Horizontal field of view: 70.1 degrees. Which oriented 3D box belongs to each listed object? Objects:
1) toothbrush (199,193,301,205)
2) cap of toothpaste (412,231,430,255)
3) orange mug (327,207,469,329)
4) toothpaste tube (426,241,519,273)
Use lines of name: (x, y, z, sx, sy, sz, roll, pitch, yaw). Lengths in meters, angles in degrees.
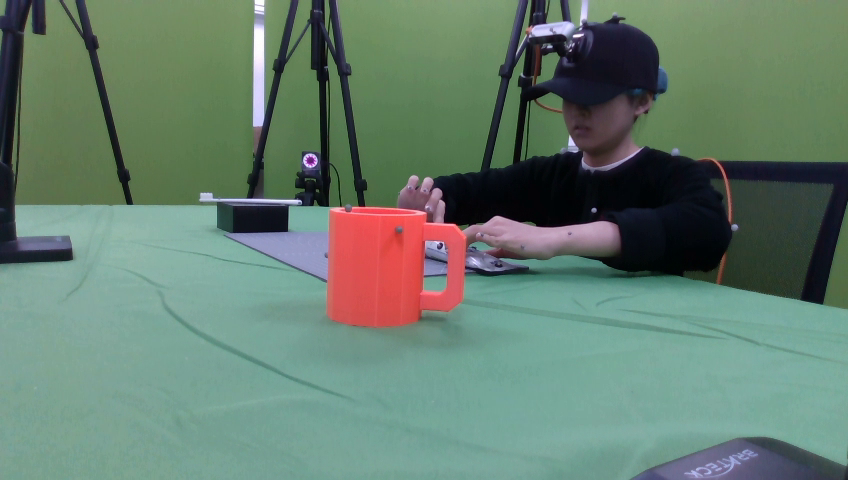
toothbrush: (-0.323, -0.076, 1.129, 0.182, 0.016, 0.014, 2, 5, -15)
cap of toothpaste: (-0.002, 0.005, 0.889, 0.011, 0.037, 0.037, 12, 12, 42)
orange mug: (-0.024, 0.021, 0.535, 0.126, 0.100, 0.083, -1, 6, 8)
toothpaste tube: (0.049, 0.022, 0.830, 0.055, 0.034, 0.164, -11, 19, -41)
